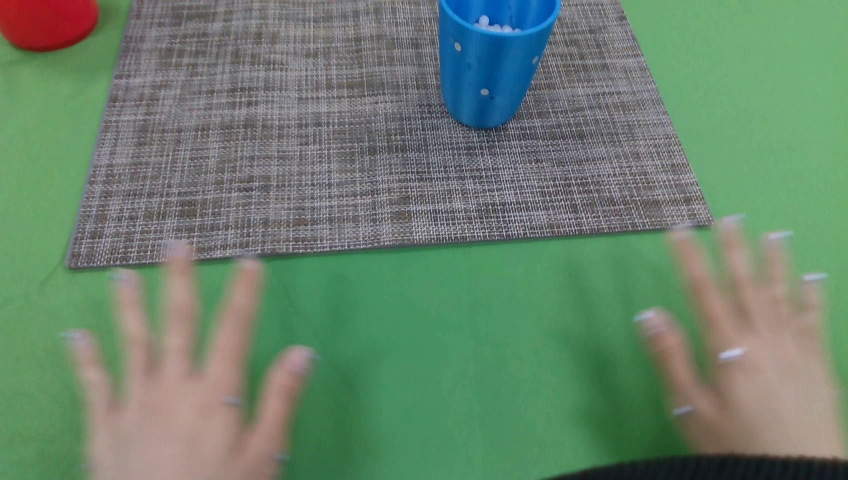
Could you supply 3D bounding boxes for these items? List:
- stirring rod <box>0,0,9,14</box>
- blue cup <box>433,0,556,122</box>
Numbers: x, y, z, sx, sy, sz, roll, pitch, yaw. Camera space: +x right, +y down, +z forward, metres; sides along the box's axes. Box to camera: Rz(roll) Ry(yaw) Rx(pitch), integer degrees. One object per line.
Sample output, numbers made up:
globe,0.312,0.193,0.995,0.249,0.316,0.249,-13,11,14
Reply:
stirring rod,-0.304,-0.241,0.483,0.176,0.006,0.014,-41,64,20
blue cup,0.045,-0.144,0.454,0.093,0.101,0.092,2,58,-3
